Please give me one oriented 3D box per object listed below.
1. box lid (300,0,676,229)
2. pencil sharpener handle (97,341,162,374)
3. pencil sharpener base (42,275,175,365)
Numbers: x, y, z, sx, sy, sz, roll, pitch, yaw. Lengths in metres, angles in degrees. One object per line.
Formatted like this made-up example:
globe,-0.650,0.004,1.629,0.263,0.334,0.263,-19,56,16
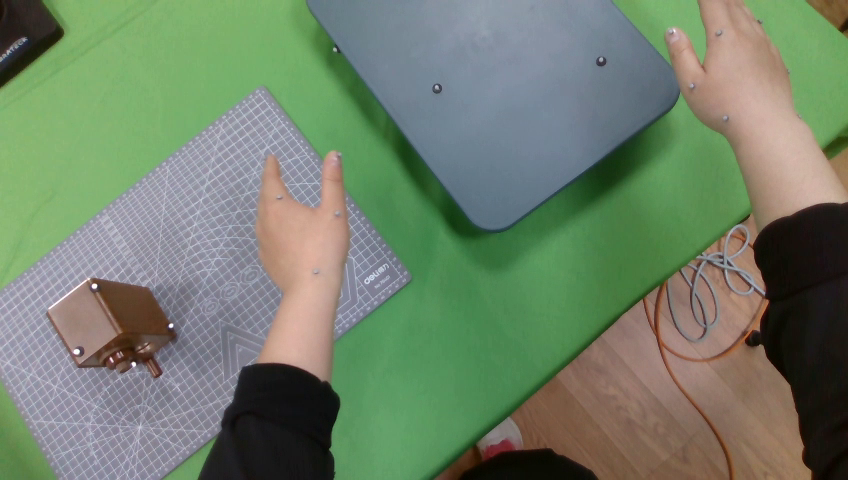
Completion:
box lid,0.057,-0.221,0.652,0.263,0.015,0.369,-37,79,-1
pencil sharpener handle,-0.296,0.124,0.617,0.036,0.068,0.030,-39,79,5
pencil sharpener base,-0.326,0.088,0.638,0.061,0.107,0.076,-38,79,-1
